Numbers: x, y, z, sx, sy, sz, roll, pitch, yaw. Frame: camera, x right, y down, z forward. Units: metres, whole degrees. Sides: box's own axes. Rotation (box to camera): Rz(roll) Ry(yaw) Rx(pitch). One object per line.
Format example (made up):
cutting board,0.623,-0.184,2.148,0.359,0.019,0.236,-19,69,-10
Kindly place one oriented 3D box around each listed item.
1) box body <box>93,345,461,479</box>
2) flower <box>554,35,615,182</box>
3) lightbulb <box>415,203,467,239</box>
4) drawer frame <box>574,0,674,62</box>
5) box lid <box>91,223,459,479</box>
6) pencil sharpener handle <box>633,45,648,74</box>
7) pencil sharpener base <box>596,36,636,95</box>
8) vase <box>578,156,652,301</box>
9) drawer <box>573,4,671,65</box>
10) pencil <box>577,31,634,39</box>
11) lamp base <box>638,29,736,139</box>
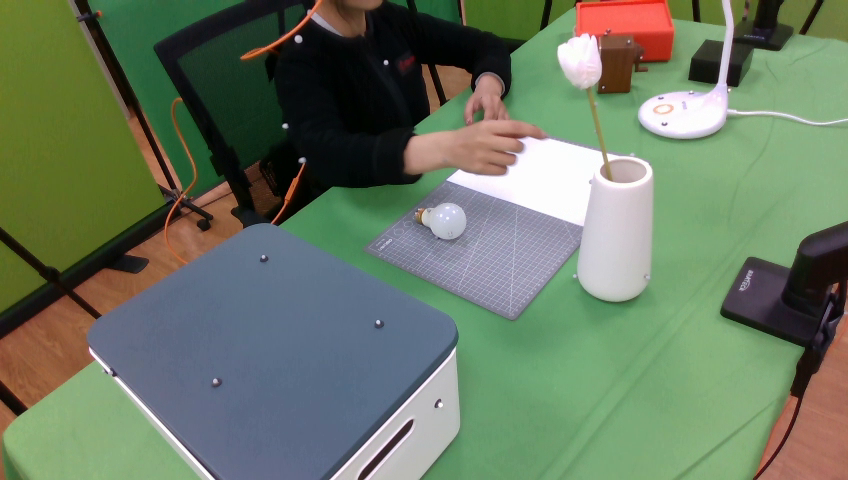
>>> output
box body,-0.162,0.170,0.708,0.361,0.161,0.255,25,50,34
flower,0.237,-0.083,0.774,0.044,0.363,0.038,-21,27,9
lightbulb,0.024,-0.034,0.999,0.060,0.060,0.107,-38,32,-30
drawer frame,0.464,-0.492,1.434,0.213,0.083,0.201,1,40,12
box lid,-0.174,0.102,0.666,0.368,0.015,0.264,24,48,35
pencil sharpener handle,0.454,-0.378,1.262,0.030,0.068,0.036,1,47,13
pencil sharpener base,0.406,-0.369,1.280,0.076,0.107,0.061,1,41,13
vase,0.261,-0.011,0.812,0.098,0.201,0.097,-4,40,4
drawer,0.461,-0.490,1.435,0.211,0.073,0.194,2,41,12
pencil,0.431,-0.488,1.443,0.012,0.012,0.192,-25,30,-18
lamp base,0.501,-0.302,1.125,0.179,0.181,0.160,-4,40,3
